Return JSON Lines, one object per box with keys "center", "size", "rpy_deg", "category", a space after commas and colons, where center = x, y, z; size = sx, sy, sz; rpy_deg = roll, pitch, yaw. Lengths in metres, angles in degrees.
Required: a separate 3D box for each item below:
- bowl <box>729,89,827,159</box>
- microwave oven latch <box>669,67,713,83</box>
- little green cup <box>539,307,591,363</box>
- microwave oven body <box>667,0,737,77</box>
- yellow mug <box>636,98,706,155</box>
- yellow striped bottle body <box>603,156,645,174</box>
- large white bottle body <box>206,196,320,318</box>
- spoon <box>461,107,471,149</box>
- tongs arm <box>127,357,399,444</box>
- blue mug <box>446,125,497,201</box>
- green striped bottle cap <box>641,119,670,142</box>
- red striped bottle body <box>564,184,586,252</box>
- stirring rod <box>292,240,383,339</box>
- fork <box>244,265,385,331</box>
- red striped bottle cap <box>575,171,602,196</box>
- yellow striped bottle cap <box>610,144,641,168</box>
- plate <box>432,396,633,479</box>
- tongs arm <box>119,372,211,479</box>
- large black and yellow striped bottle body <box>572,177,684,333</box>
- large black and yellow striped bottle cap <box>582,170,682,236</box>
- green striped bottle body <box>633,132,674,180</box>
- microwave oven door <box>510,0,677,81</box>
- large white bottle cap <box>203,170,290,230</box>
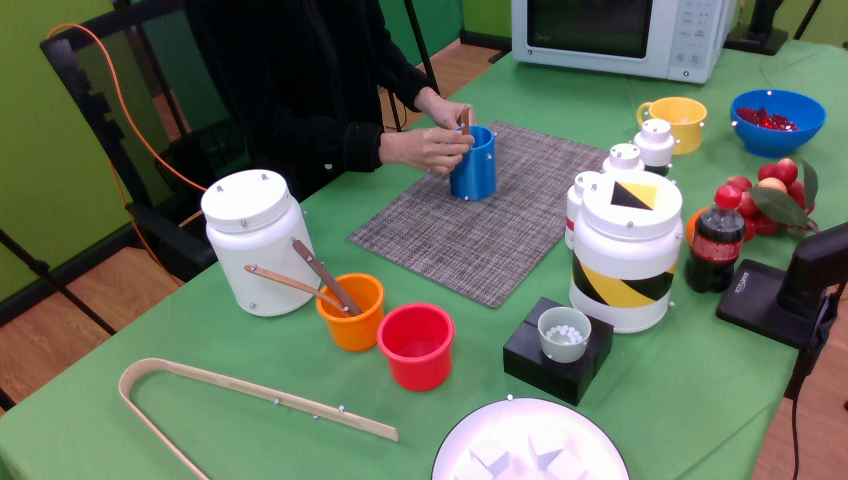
{"center": [0.615, -0.197, 1.069], "size": [0.151, 0.077, 0.150], "rpy_deg": [-5, 40, 5], "category": "bowl"}
{"center": [0.556, -0.348, 1.261], "size": [0.078, 0.029, 0.030], "rpy_deg": [16, 46, 27], "category": "microwave oven latch"}
{"center": [0.167, 0.114, 0.721], "size": [0.061, 0.039, 0.061], "rpy_deg": [-4, 43, 4], "category": "little green cup"}
{"center": [0.462, -0.552, 1.369], "size": [0.439, 0.261, 0.326], "rpy_deg": [15, 45, 26], "category": "microwave oven body"}
{"center": [0.453, -0.217, 1.128], "size": [0.100, 0.064, 0.129], "rpy_deg": [-34, 46, -27], "category": "yellow mug"}
{"center": [0.313, -0.089, 0.956], "size": [0.063, 0.121, 0.062], "rpy_deg": [-4, 40, 4], "category": "yellow striped bottle body"}
{"center": [-0.233, 0.008, 0.877], "size": [0.130, 0.185, 0.130], "rpy_deg": [-4, 40, 4], "category": "large white bottle body"}
{"center": [0.073, -0.153, 0.987], "size": [0.041, 0.195, 0.021], "rpy_deg": [-26, 59, -4], "category": "spoon"}
{"center": [-0.213, 0.205, 0.755], "size": [0.382, 0.026, 0.051], "rpy_deg": [12, 46, 23], "category": "tongs arm"}
{"center": [0.082, -0.144, 1.064], "size": [0.082, 0.106, 0.116], "rpy_deg": [-10, 40, -2], "category": "blue mug"}
{"center": [0.371, -0.175, 0.968], "size": [0.044, 0.020, 0.044], "rpy_deg": [-5, 41, 5], "category": "green striped bottle cap"}
{"center": [0.247, -0.041, 0.910], "size": [0.063, 0.120, 0.062], "rpy_deg": [-3, 39, 3], "category": "red striped bottle body"}
{"center": [-0.118, 0.068, 0.826], "size": [0.176, 0.006, 0.014], "rpy_deg": [49, 59, -4], "category": "stirring rod"}
{"center": [-0.142, 0.078, 0.806], "size": [0.209, 0.018, 0.028], "rpy_deg": [30, 32, -23], "category": "fork"}
{"center": [0.242, -0.081, 0.876], "size": [0.044, 0.018, 0.044], "rpy_deg": [-5, 44, 5], "category": "red striped bottle cap"}
{"center": [0.307, -0.128, 0.923], "size": [0.044, 0.019, 0.044], "rpy_deg": [-5, 39, 5], "category": "yellow striped bottle cap"}
{"center": [0.112, 0.261, 0.634], "size": [0.209, 0.038, 0.208], "rpy_deg": [-5, 40, 4], "category": "plate"}
{"center": [-0.257, 0.256, 0.701], "size": [0.384, 0.028, 0.028], "rpy_deg": [24, 55, 33], "category": "tongs arm"}
{"center": [0.262, 0.017, 0.788], "size": [0.131, 0.185, 0.130], "rpy_deg": [-5, 40, 4], "category": "large black and yellow striped bottle body"}
{"center": [0.252, -0.048, 0.735], "size": [0.115, 0.019, 0.114], "rpy_deg": [-3, 40, 3], "category": "large black and yellow striped bottle cap"}
{"center": [0.376, -0.135, 1.001], "size": [0.063, 0.120, 0.063], "rpy_deg": [-5, 40, 5], "category": "green striped bottle body"}
{"center": [0.354, -0.478, 1.290], "size": [0.353, 0.245, 0.039], "rpy_deg": [15, 45, 25], "category": "microwave oven door"}
{"center": [-0.241, -0.057, 0.822], "size": [0.115, 0.018, 0.114], "rpy_deg": [-4, 40, 4], "category": "large white bottle cap"}
